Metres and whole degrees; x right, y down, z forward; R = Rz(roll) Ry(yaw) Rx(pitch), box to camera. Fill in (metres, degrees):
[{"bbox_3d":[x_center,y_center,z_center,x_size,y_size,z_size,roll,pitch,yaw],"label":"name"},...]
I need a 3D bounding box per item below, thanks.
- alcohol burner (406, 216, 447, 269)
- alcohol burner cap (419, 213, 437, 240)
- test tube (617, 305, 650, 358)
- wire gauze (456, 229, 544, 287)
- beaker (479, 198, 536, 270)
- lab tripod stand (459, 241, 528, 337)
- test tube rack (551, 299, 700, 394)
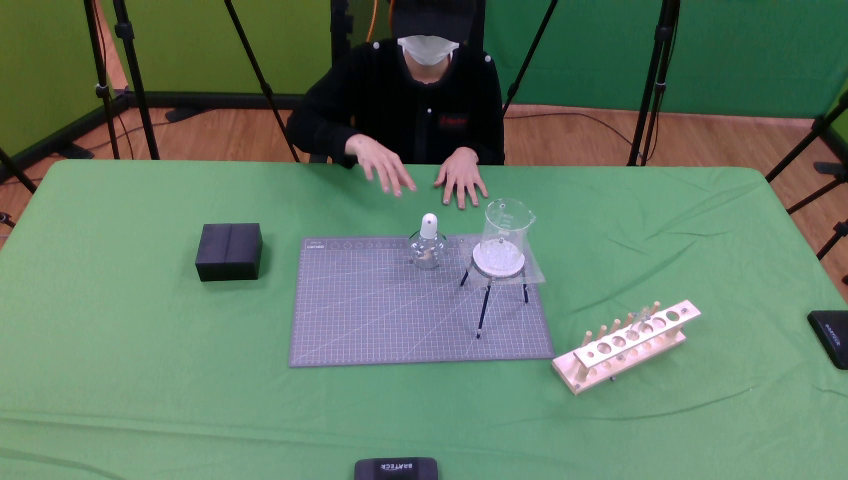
[{"bbox_3d":[0.006,-0.002,1.134,0.078,0.120,0.077,2,48,-2],"label":"alcohol burner"},{"bbox_3d":[0.009,-0.027,1.109,0.034,0.048,0.033,3,44,-3],"label":"alcohol burner cap"},{"bbox_3d":[0.333,0.149,0.967,0.017,0.151,0.017,0,52,1],"label":"test tube"},{"bbox_3d":[0.125,0.030,1.008,0.125,0.011,0.120,-3,48,-11],"label":"wire gauze"},{"bbox_3d":[0.131,-0.007,0.975,0.084,0.101,0.073,2,46,-4],"label":"beaker"},{"bbox_3d":[0.122,0.075,1.054,0.148,0.132,0.147,3,44,-3],"label":"lab tripod stand"},{"bbox_3d":[0.339,0.166,1.021,0.242,0.085,0.066,-19,50,-21],"label":"test tube rack"}]
